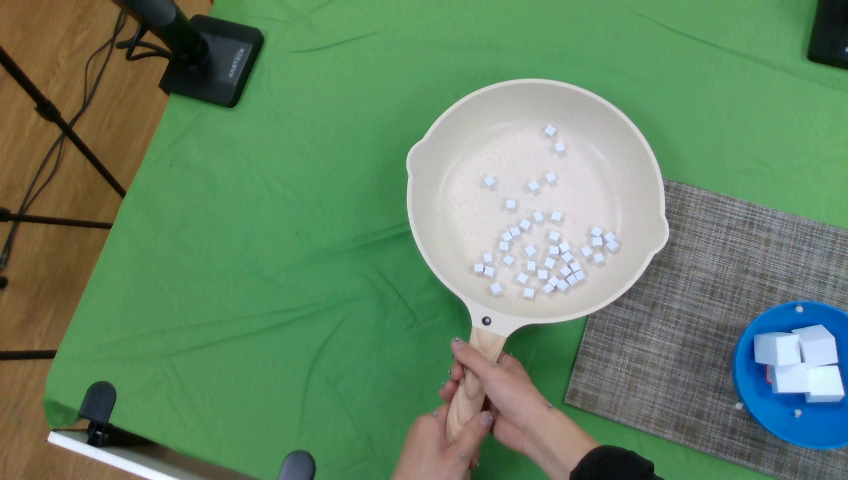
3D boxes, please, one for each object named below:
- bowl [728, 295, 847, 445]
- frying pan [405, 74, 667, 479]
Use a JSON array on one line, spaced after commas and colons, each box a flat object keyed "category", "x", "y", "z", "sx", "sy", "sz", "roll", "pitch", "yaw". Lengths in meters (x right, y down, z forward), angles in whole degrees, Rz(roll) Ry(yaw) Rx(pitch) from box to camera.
[{"category": "bowl", "x": 0.396, "y": 0.139, "z": 0.652, "sx": 0.151, "sy": 0.077, "sz": 0.150, "roll": -1, "pitch": 76, "yaw": 6}, {"category": "frying pan", "x": 0.089, "y": 0.042, "z": 0.678, "sx": 0.306, "sy": 0.103, "sz": 0.485, "roll": 19, "pitch": 70, "yaw": 7}]
